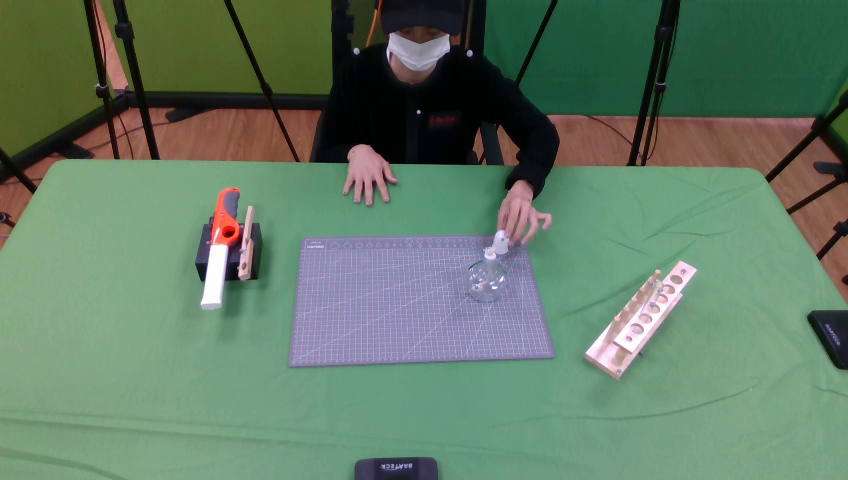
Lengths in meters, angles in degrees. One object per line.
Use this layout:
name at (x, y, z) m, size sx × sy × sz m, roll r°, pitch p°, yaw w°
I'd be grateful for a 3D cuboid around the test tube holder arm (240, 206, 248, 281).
test tube holder arm at (-0.329, 0.002, 1.106) m, size 0.013 × 0.015 × 0.177 m, roll -6°, pitch 48°, yaw -10°

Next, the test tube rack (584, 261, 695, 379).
test tube rack at (0.380, 0.127, 1.062) m, size 0.066 × 0.085 × 0.242 m, roll 34°, pitch 53°, yaw 26°

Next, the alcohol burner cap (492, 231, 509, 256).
alcohol burner cap at (0.148, 0.004, 1.155) m, size 0.034 × 0.048 × 0.033 m, roll 2°, pitch 50°, yaw -2°

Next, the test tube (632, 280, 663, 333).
test tube at (0.363, 0.121, 0.997) m, size 0.017 × 0.151 × 0.017 m, roll 2°, pitch 44°, yaw -1°

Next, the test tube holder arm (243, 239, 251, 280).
test tube holder arm at (-0.315, 0.034, 1.077) m, size 0.010 × 0.015 × 0.087 m, roll -4°, pitch 48°, yaw -9°

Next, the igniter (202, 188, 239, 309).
igniter at (-0.366, 0.006, 1.095) m, size 0.057 × 0.025 × 0.274 m, roll -2°, pitch 49°, yaw -7°

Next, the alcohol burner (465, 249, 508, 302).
alcohol burner at (0.114, 0.057, 1.085) m, size 0.078 × 0.120 × 0.077 m, roll 2°, pitch 48°, yaw -2°
